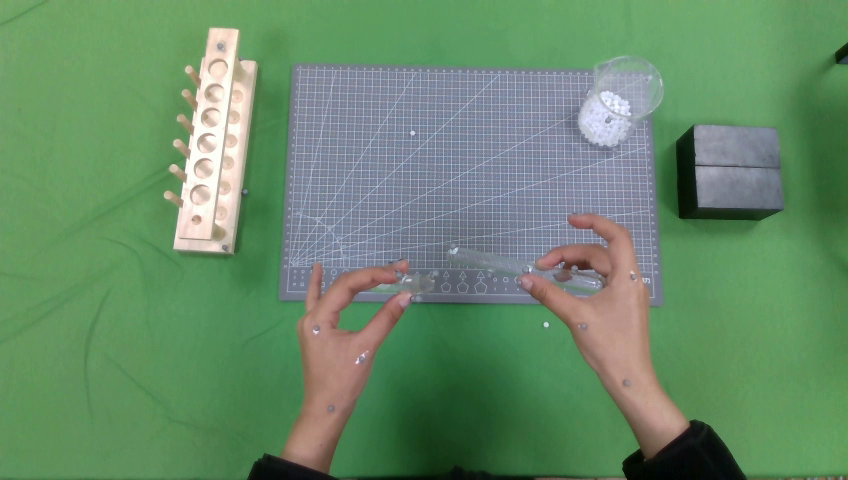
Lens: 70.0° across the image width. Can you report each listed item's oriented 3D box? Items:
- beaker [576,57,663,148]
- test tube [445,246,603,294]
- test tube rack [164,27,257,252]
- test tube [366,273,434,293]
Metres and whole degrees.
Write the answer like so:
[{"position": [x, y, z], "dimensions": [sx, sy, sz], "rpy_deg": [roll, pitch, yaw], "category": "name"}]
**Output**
[{"position": [0.220, -0.158, 0.708], "dimensions": [0.084, 0.100, 0.074], "rpy_deg": [38, 80, 8], "category": "beaker"}, {"position": [0.084, 0.025, 0.531], "dimensions": [0.149, 0.017, 0.017], "rpy_deg": [12, 76, 33], "category": "test tube"}, {"position": [-0.249, -0.114, 0.697], "dimensions": [0.067, 0.085, 0.241], "rpy_deg": [4, 78, 0], "category": "test tube rack"}, {"position": [-0.026, 0.038, 0.530], "dimensions": [0.017, 0.150, 0.017], "rpy_deg": [2, 85, -21], "category": "test tube"}]
